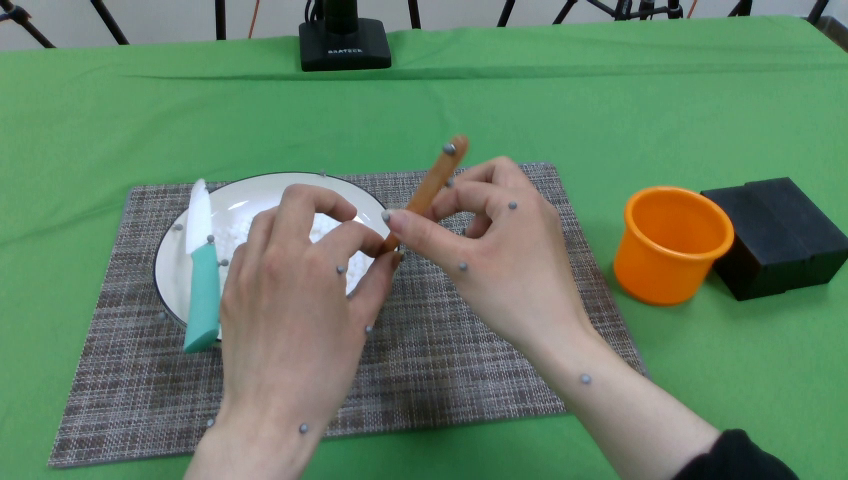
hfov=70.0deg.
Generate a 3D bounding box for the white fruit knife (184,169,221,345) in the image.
[{"bbox_3d":[-0.189,0.002,0.513,0.027,0.016,0.205,-13,48,-9],"label":"white fruit knife"}]

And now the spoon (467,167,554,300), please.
[{"bbox_3d":[0.075,-0.014,0.583,0.041,0.022,0.191,-21,49,2],"label":"spoon"}]

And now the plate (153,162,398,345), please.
[{"bbox_3d":[-0.127,0.010,0.539,0.209,0.038,0.207,2,46,-1],"label":"plate"}]

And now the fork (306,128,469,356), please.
[{"bbox_3d":[-0.029,0.009,0.405,0.028,0.208,0.019,47,34,18],"label":"fork"}]
